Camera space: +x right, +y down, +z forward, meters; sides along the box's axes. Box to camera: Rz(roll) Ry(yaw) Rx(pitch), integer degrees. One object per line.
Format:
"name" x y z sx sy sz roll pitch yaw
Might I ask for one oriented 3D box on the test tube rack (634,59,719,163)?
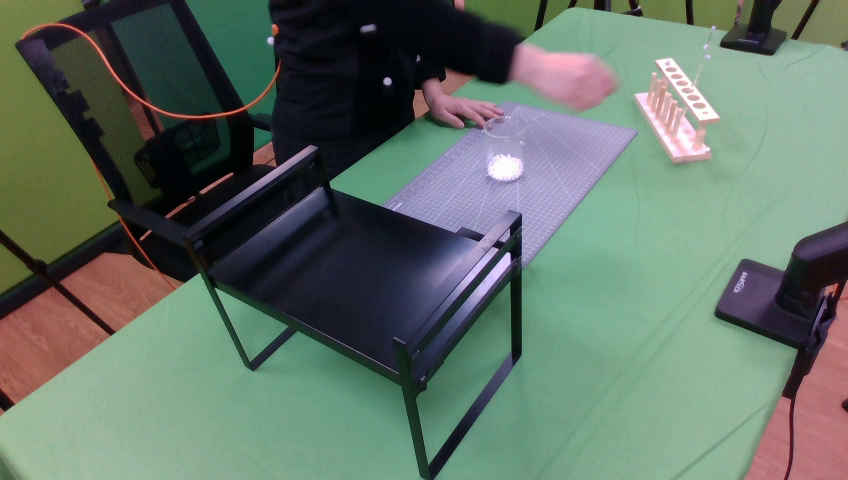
"test tube rack" 0.471 -0.250 1.148 0.067 0.085 0.241 -6 40 3

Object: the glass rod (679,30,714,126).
"glass rod" 0.485 -0.284 1.084 0.008 0.200 0.008 -2 49 2

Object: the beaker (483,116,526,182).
"beaker" 0.147 -0.162 1.080 0.073 0.101 0.084 12 44 22
